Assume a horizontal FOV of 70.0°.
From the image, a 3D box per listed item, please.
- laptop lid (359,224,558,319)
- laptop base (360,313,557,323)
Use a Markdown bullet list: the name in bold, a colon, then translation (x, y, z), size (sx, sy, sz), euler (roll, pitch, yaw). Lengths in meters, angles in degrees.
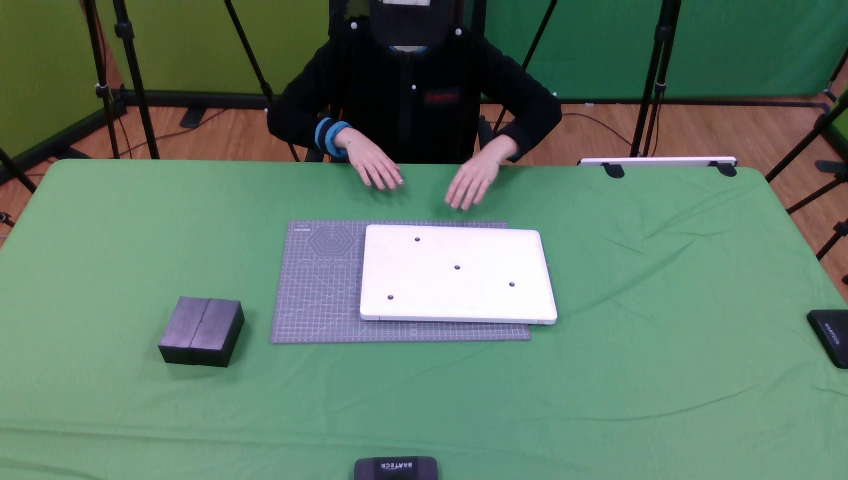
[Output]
- **laptop lid**: translation (0.061, 0.053, 1.137), size (0.357, 0.013, 0.240), euler (3, 44, -2)
- **laptop base**: translation (0.061, 0.063, 1.145), size (0.355, 0.023, 0.234), euler (2, 43, -3)
